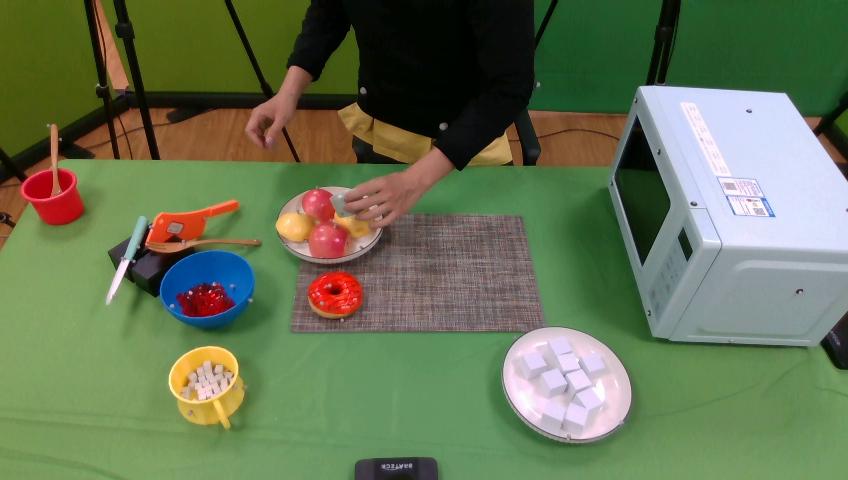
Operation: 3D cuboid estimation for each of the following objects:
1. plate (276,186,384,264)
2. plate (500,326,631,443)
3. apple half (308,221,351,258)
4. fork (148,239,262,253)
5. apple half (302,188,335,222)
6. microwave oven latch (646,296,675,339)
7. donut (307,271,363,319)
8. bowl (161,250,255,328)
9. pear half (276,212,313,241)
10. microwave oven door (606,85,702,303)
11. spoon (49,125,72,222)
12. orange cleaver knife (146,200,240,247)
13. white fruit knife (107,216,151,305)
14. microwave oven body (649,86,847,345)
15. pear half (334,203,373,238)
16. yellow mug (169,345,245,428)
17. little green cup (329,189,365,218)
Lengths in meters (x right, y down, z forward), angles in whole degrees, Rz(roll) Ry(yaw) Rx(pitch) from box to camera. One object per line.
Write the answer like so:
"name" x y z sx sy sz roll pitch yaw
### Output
"plate" -0.184 -0.027 1.195 0.209 0.038 0.208 2 46 -2
"plate" 0.224 0.234 0.978 0.208 0.039 0.206 2 46 -2
"apple half" -0.180 -0.005 1.150 0.074 0.053 0.080 14 43 9
"fork" -0.398 0.008 1.117 0.208 0.019 0.028 -5 35 -37
"apple half" -0.204 -0.076 1.216 0.081 0.033 0.081 18 45 -19
"microwave oven latch" 0.412 0.134 1.061 0.030 0.029 0.078 4 45 1
"donut" -0.157 0.097 1.073 0.099 0.048 0.098 4 45 -4
"bowl" -0.362 0.097 1.040 0.151 0.077 0.150 2 45 -2
"pear half" -0.245 -0.035 1.178 0.070 0.031 0.088 40 41 1
"microwave oven door" 0.423 -0.094 1.140 0.039 0.245 0.353 2 46 -1
"spoon" -0.717 -0.132 1.188 0.042 0.021 0.193 -3 90 -8
"orange cleaver knife" -0.435 -0.033 1.157 0.012 0.077 0.211 31 26 18
"white fruit knife" -0.518 0.032 1.066 0.027 0.016 0.206 -18 45 19
"microwave oven body" 0.568 -0.053 1.118 0.326 0.261 0.439 2 45 -1
"pear half" -0.147 -0.060 1.210 0.076 0.056 0.109 -16 45 -25
"yellow mug" -0.322 0.230 0.922 0.100 0.064 0.130 -24 53 -25
"little green cup" -0.139 -0.067 1.111 0.061 0.039 0.061 -14 16 4
